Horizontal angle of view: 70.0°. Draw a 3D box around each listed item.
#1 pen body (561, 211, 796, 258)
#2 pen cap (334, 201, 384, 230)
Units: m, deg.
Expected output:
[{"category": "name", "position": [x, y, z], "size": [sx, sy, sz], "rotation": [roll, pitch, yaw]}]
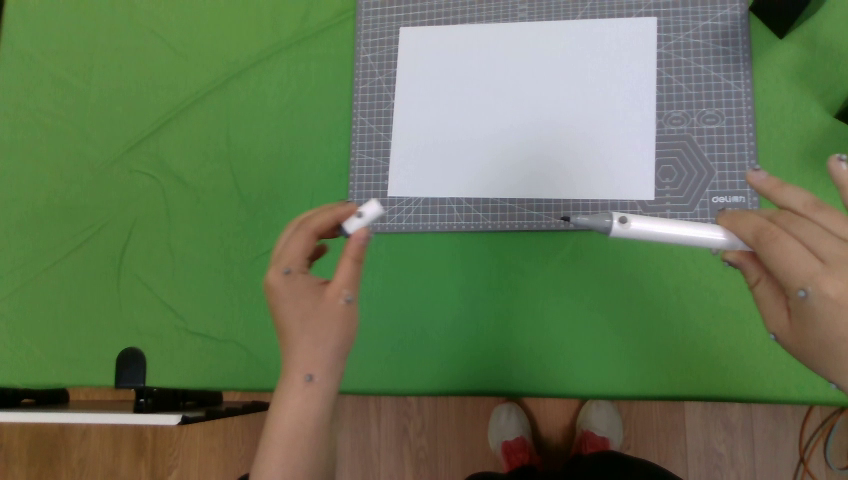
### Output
[{"category": "pen body", "position": [0.158, -0.005, 0.382], "size": [0.144, 0.017, 0.017], "rotation": [8, 83, 2]}, {"category": "pen cap", "position": [-0.051, -0.018, 0.469], "size": [0.038, 0.017, 0.017], "rotation": [-13, 79, 14]}]
